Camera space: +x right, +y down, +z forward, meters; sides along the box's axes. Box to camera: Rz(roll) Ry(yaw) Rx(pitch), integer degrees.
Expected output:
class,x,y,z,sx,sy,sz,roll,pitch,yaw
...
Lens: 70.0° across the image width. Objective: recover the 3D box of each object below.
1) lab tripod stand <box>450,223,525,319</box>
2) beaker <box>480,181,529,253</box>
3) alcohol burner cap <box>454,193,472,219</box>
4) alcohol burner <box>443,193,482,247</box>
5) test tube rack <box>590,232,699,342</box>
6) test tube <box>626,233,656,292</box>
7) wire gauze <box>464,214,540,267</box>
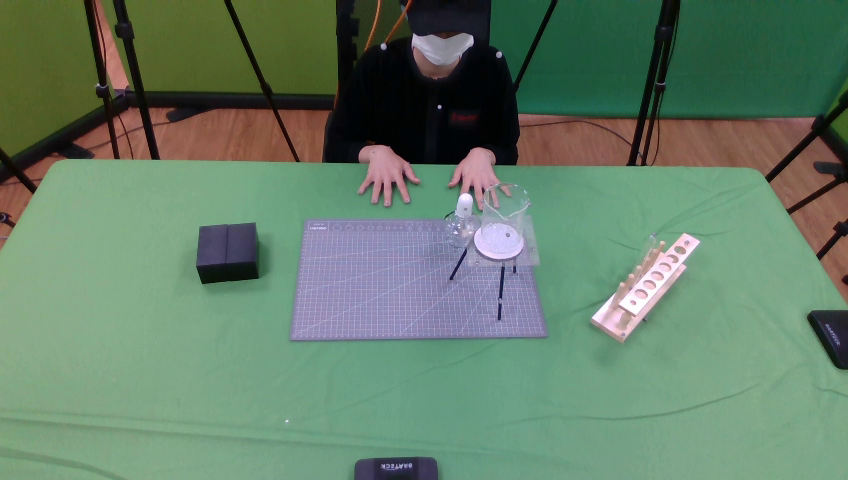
class,x,y,z,sx,sy,sz,roll,pitch,yaw
lab tripod stand,0.120,0.046,1.080,0.148,0.132,0.147,1,47,-1
beaker,0.130,-0.033,0.998,0.074,0.101,0.083,5,47,4
alcohol burner cap,0.076,-0.068,1.151,0.034,0.048,0.033,3,46,-3
alcohol burner,0.075,-0.044,1.177,0.078,0.120,0.077,1,44,-1
test tube rack,0.407,0.074,1.112,0.066,0.085,0.242,35,53,26
test tube,0.384,0.042,1.079,0.017,0.151,0.017,1,47,-1
wire gauze,0.131,-0.001,1.035,0.121,0.011,0.124,1,44,-2
